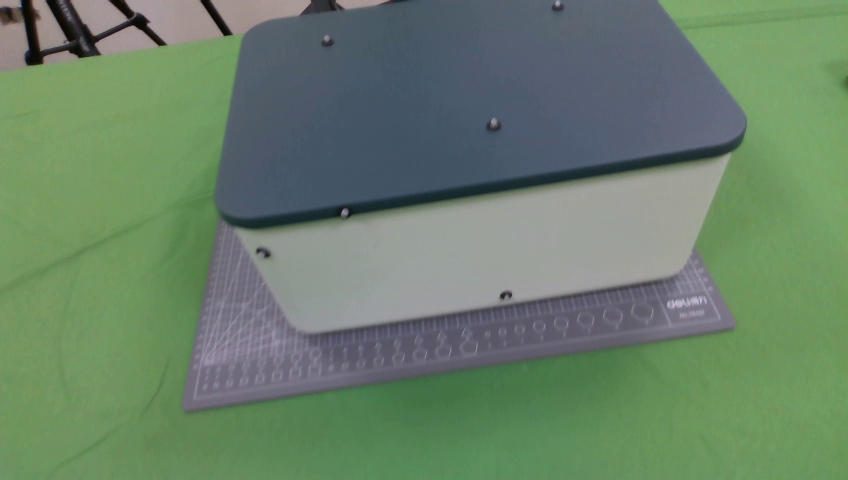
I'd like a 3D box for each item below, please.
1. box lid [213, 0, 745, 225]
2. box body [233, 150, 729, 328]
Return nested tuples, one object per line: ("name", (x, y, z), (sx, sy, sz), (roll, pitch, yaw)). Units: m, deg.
("box lid", (0.025, -0.130, 0.483), (0.372, 0.015, 0.260), (-9, 48, 0))
("box body", (0.035, -0.080, 0.538), (0.364, 0.162, 0.251), (-9, 47, 0))
